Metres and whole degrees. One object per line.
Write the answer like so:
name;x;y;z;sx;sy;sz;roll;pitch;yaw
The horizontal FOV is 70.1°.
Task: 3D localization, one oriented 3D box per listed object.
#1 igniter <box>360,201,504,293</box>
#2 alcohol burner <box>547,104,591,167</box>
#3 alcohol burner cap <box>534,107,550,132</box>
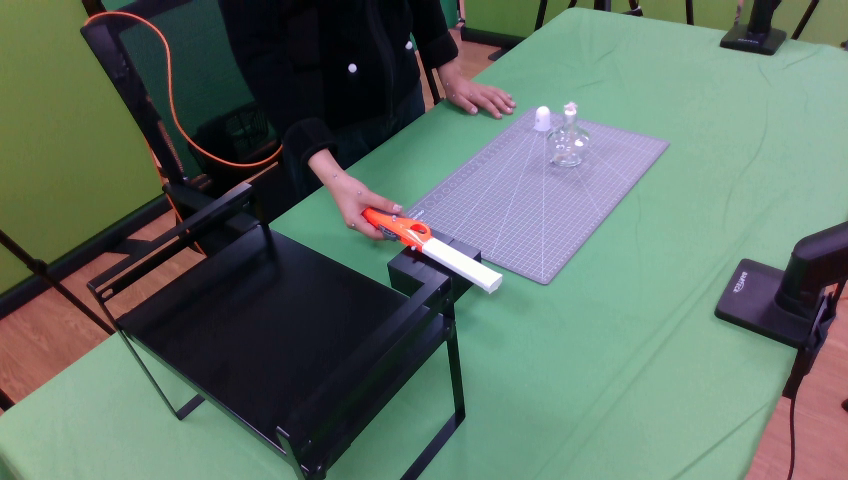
igniter;0.000;0.003;0.894;0.274;0.025;0.057;30;49;33
alcohol burner;0.261;-0.192;1.087;0.078;0.119;0.077;-5;42;5
alcohol burner cap;0.236;-0.243;1.206;0.034;0.048;0.033;-4;40;4
